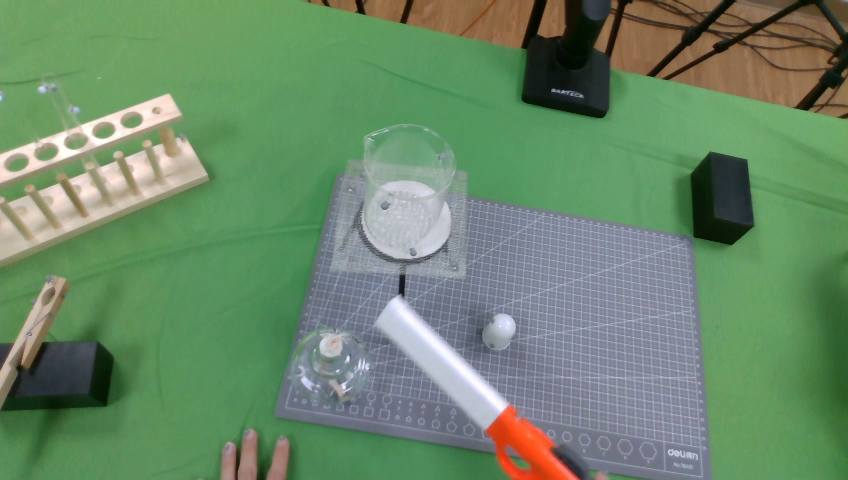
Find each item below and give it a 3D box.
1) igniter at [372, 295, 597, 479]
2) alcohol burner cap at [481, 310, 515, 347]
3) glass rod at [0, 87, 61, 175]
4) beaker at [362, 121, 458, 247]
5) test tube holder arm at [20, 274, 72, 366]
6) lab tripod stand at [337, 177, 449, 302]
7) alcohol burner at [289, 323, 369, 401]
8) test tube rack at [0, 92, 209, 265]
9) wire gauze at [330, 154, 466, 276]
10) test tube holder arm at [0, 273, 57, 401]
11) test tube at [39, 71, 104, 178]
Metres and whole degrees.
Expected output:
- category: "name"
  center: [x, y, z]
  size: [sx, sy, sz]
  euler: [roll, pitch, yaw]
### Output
- category: "igniter"
  center: [0.064, 0.148, 0.486]
  size: [0.275, 0.057, 0.025]
  euler: [42, 31, 13]
- category: "alcohol burner cap"
  center: [0.081, 0.093, 0.650]
  size: [0.034, 0.048, 0.033]
  euler: [3, 62, -5]
- category: "glass rod"
  center: [-0.390, -0.108, 0.592]
  size: [0.008, 0.201, 0.008]
  euler: [1, 56, -1]
- category: "beaker"
  center: [-0.020, -0.045, 0.526]
  size: [0.083, 0.101, 0.074]
  euler: [33, 63, 10]
- category: "test tube holder arm"
  center: [-0.354, 0.074, 0.562]
  size: [0.010, 0.015, 0.087]
  euler: [13, 61, 0]
- category: "lab tripod stand"
  center: [-0.026, 0.011, 0.626]
  size: [0.149, 0.132, 0.147]
  euler: [4, 63, -7]
- category: "alcohol burner"
  center: [-0.090, 0.110, 0.576]
  size: [0.078, 0.120, 0.077]
  euler: [4, 61, -7]
- category: "test tube rack"
  center: [-0.368, -0.066, 0.649]
  size: [0.242, 0.086, 0.066]
  euler: [-27, 69, -20]
- category: "wire gauze"
  center: [-0.021, -0.023, 0.570]
  size: [0.121, 0.011, 0.124]
  euler: [5, 66, -4]
- category: "test tube holder arm"
  center: [-0.368, 0.110, 0.540]
  size: [0.013, 0.015, 0.177]
  euler: [12, 61, -1]
- category: "test tube"
  center: [-0.356, -0.111, 0.619]
  size: [0.017, 0.151, 0.017]
  euler: [4, 57, -6]
